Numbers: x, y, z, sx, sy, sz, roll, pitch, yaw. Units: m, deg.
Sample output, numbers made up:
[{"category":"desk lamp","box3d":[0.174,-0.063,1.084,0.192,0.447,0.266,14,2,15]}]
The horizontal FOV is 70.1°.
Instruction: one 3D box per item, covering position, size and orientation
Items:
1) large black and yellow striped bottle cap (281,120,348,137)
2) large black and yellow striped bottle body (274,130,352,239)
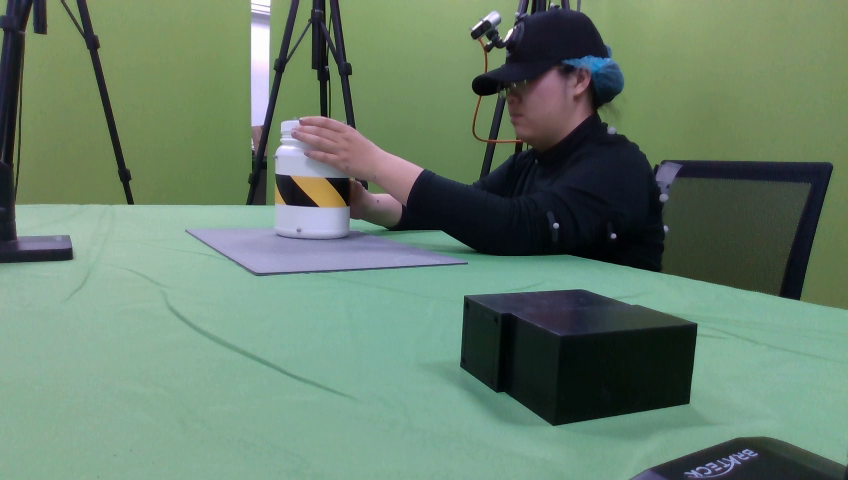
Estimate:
[{"category":"large black and yellow striped bottle cap","box3d":[-0.189,-0.190,1.046,0.115,0.019,0.115,2,2,0]},{"category":"large black and yellow striped bottle body","box3d":[-0.193,-0.099,1.058,0.131,0.184,0.130,3,8,0]}]
